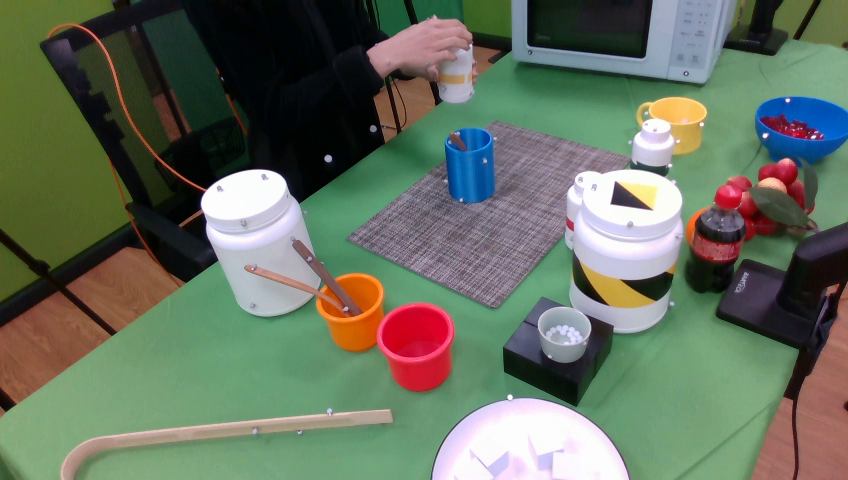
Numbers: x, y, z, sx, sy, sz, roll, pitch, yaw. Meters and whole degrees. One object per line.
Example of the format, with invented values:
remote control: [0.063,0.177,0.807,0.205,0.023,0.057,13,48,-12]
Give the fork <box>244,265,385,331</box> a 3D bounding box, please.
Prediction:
fork: [-0.142,0.078,0.806,0.209,0.018,0.028,30,33,-23]

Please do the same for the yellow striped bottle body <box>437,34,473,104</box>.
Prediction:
yellow striped bottle body: [0.056,-0.308,1.070,0.063,0.121,0.062,-2,45,2]

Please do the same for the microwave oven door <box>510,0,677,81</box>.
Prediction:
microwave oven door: [0.354,-0.478,1.290,0.353,0.245,0.039,15,45,25]

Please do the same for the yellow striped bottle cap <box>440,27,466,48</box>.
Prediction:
yellow striped bottle cap: [0.050,-0.346,1.035,0.044,0.019,0.044,3,51,-3]

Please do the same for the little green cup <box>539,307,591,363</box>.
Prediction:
little green cup: [0.167,0.114,0.721,0.061,0.039,0.061,-4,43,4]

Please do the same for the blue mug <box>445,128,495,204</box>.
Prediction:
blue mug: [0.081,-0.139,1.058,0.082,0.106,0.116,-4,40,4]

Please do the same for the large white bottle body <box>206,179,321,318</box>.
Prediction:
large white bottle body: [-0.233,0.007,0.876,0.130,0.185,0.130,-5,40,4]

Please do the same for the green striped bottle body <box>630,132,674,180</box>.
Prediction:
green striped bottle body: [0.376,-0.135,1.001,0.063,0.120,0.063,-5,41,5]

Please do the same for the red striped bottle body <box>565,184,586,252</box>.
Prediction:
red striped bottle body: [0.247,-0.041,0.910,0.063,0.120,0.062,-3,39,3]

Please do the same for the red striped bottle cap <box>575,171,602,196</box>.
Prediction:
red striped bottle cap: [0.242,-0.082,0.876,0.044,0.018,0.044,-5,44,5]

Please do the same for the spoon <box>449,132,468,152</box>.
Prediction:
spoon: [0.067,-0.143,0.998,0.041,0.195,0.021,9,79,18]

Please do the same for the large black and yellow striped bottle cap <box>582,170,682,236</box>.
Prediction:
large black and yellow striped bottle cap: [0.252,-0.048,0.735,0.115,0.019,0.114,-3,40,3]

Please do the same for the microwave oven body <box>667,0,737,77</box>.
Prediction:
microwave oven body: [0.462,-0.552,1.369,0.439,0.261,0.326,15,45,26]

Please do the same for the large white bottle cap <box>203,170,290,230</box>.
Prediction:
large white bottle cap: [-0.241,-0.057,0.822,0.115,0.018,0.114,-4,40,4]

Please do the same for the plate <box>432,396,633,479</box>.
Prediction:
plate: [0.112,0.261,0.634,0.209,0.038,0.208,-5,40,4]

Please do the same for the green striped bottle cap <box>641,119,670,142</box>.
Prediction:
green striped bottle cap: [0.371,-0.175,0.968,0.044,0.020,0.044,-5,41,5]

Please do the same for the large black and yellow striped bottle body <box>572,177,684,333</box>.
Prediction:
large black and yellow striped bottle body: [0.262,0.017,0.788,0.131,0.185,0.130,-5,40,4]

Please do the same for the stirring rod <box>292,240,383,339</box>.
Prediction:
stirring rod: [-0.118,0.068,0.826,0.176,0.006,0.014,49,60,-4]

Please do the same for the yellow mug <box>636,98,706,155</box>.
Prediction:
yellow mug: [0.453,-0.217,1.128,0.100,0.064,0.129,-34,46,-27]

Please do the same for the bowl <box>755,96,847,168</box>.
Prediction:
bowl: [0.645,-0.177,1.041,0.151,0.077,0.150,-5,40,4]

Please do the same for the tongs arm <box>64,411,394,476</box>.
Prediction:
tongs arm: [-0.228,0.240,0.715,0.385,0.026,0.050,-5,44,5]

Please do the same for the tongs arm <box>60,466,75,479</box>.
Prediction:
tongs arm: [-0.239,0.301,0.649,0.386,0.028,0.028,6,49,16]

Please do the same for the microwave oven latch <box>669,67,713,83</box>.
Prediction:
microwave oven latch: [0.556,-0.348,1.262,0.078,0.029,0.030,16,46,27]
